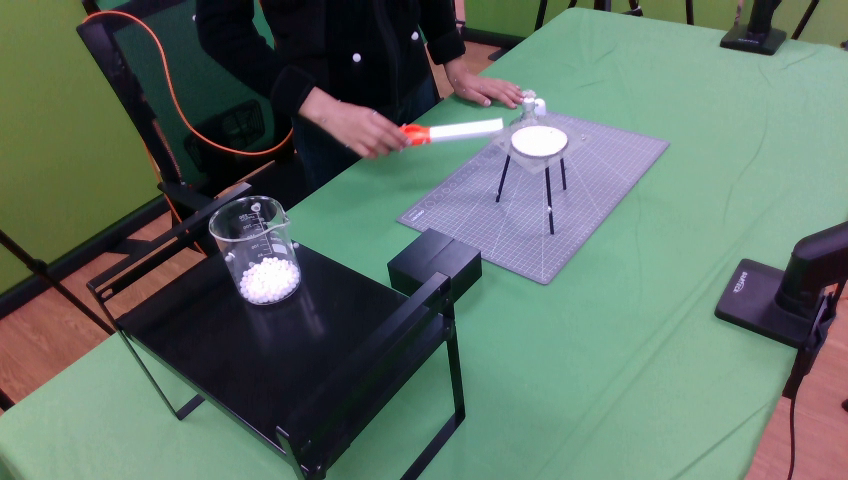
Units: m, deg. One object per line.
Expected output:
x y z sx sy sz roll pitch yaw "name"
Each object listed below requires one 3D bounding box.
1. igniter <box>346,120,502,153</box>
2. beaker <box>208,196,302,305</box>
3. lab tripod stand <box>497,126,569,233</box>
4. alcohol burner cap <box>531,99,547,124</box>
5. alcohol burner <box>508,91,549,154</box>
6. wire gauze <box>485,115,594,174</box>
-0.002 -0.182 1.066 0.276 0.025 0.057 -5 47 5 "igniter"
-0.173 0.014 0.647 0.084 0.101 0.073 -1 41 8 "beaker"
0.188 -0.104 0.978 0.148 0.132 0.147 -3 41 3 "lab tripod stand"
0.234 -0.264 1.231 0.034 0.048 0.033 -5 41 5 "alcohol burner cap"
0.196 -0.223 1.134 0.078 0.119 0.077 -6 39 5 "alcohol burner"
0.177 -0.154 0.935 0.122 0.011 0.124 -26 45 -21 "wire gauze"
